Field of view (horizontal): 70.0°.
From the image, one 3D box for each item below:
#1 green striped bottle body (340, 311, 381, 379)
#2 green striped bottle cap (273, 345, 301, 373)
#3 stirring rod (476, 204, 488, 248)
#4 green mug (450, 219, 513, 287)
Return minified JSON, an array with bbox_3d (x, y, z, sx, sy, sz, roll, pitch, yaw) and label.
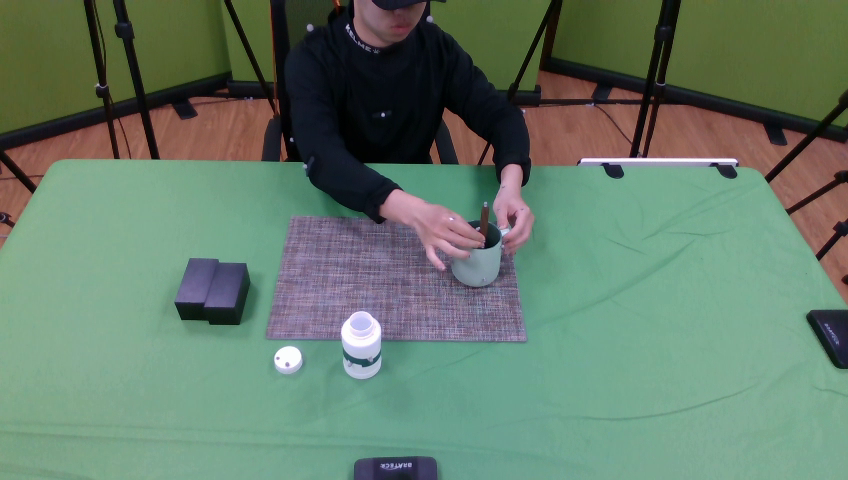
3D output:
[{"bbox_3d":[-0.101,0.164,0.964,0.063,0.120,0.063,2,46,-2],"label":"green striped bottle body"},{"bbox_3d":[-0.225,0.195,0.997,0.044,0.020,0.044,2,50,-3],"label":"green striped bottle cap"},{"bbox_3d":[0.099,0.009,1.073,0.014,0.177,0.006,1,39,-2],"label":"stirring rod"},{"bbox_3d":[0.111,0.019,1.125,0.125,0.105,0.092,-22,52,-23],"label":"green mug"}]
